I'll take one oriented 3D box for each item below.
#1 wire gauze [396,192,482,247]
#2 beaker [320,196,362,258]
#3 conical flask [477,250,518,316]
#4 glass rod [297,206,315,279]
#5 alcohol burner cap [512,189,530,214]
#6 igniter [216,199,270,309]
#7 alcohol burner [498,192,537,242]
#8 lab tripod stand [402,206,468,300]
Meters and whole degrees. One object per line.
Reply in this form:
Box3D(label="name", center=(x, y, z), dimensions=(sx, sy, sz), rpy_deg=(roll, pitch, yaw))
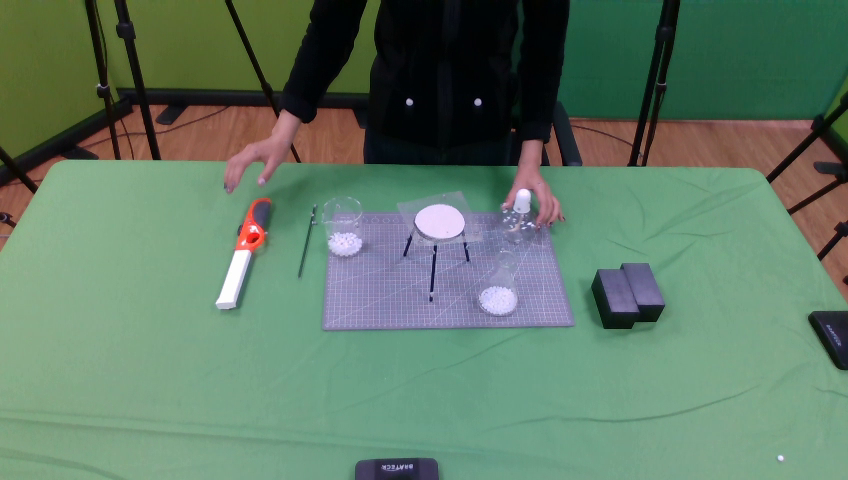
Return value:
Box3D(label="wire gauze", center=(0.025, -0.036, 1.061), dimensions=(0.125, 0.011, 0.120), rpy_deg=(-9, 47, -14))
Box3D(label="beaker", center=(-0.156, -0.021, 1.150), dimensions=(0.084, 0.101, 0.073), rpy_deg=(-30, 54, -28))
Box3D(label="conical flask", center=(0.136, 0.072, 1.067), dimensions=(0.075, 0.122, 0.075), rpy_deg=(2, 46, -2))
Box3D(label="glass rod", center=(-0.231, 0.000, 1.191), dimensions=(0.008, 0.008, 0.198), rpy_deg=(2, 46, -1))
Box3D(label="alcohol burner cap", center=(0.189, -0.077, 1.172), dimensions=(0.034, 0.048, 0.033), rpy_deg=(0, 42, 0))
Box3D(label="igniter", center=(-0.342, 0.016, 1.153), dimensions=(0.057, 0.025, 0.275), rpy_deg=(-3, 45, 7))
Box3D(label="alcohol burner", center=(0.187, -0.052, 1.198), dimensions=(0.078, 0.119, 0.077), rpy_deg=(4, 46, -4))
Box3D(label="lab tripod stand", center=(0.023, 0.013, 1.108), dimensions=(0.148, 0.132, 0.147), rpy_deg=(3, 44, -2))
